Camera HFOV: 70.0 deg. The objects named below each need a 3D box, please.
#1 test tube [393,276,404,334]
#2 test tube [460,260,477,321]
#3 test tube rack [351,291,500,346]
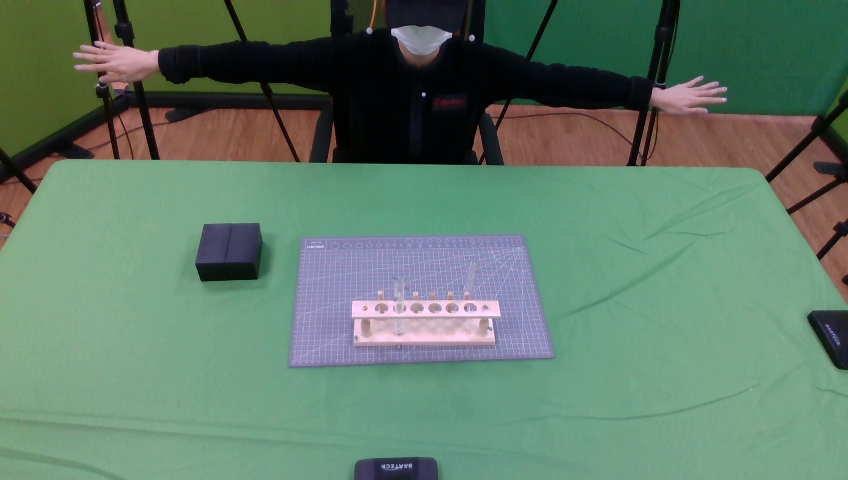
[{"bbox_3d":[-0.041,0.108,0.973,0.017,0.151,0.017,2,50,-2],"label":"test tube"},{"bbox_3d":[0.073,0.086,1.011,0.017,0.151,0.017,2,46,-2],"label":"test tube"},{"bbox_3d":[0.000,0.129,1.026,0.242,0.085,0.066,0,46,-4],"label":"test tube rack"}]
